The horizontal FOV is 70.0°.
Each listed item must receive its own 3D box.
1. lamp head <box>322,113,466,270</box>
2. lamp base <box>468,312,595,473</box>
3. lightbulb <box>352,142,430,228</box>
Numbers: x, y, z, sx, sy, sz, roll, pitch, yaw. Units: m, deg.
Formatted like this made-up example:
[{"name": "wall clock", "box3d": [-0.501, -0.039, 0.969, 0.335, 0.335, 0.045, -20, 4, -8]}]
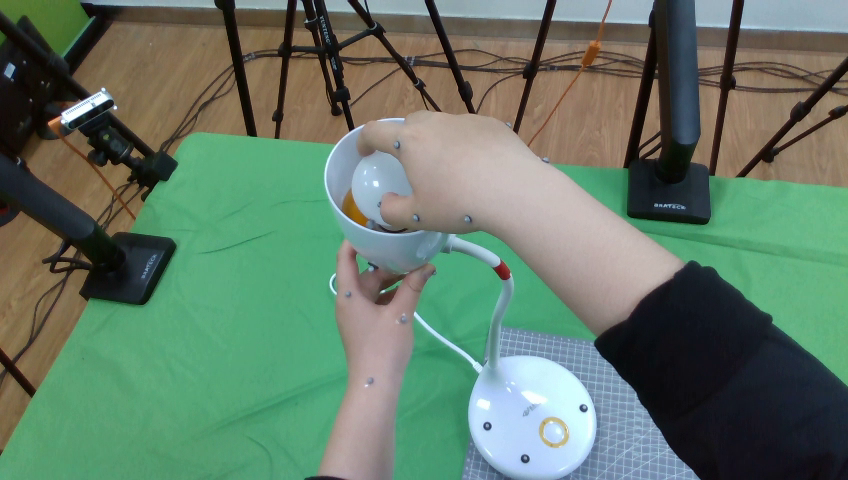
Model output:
[{"name": "lamp head", "box3d": [-0.019, -0.026, 0.509, 0.112, 0.124, 0.111, -2, 59, 4]}, {"name": "lamp base", "box3d": [0.117, 0.165, 0.713, 0.177, 0.182, 0.160, 31, 64, 28]}, {"name": "lightbulb", "box3d": [-0.024, -0.035, 0.484, 0.059, 0.108, 0.059, -1, 68, 3]}]
